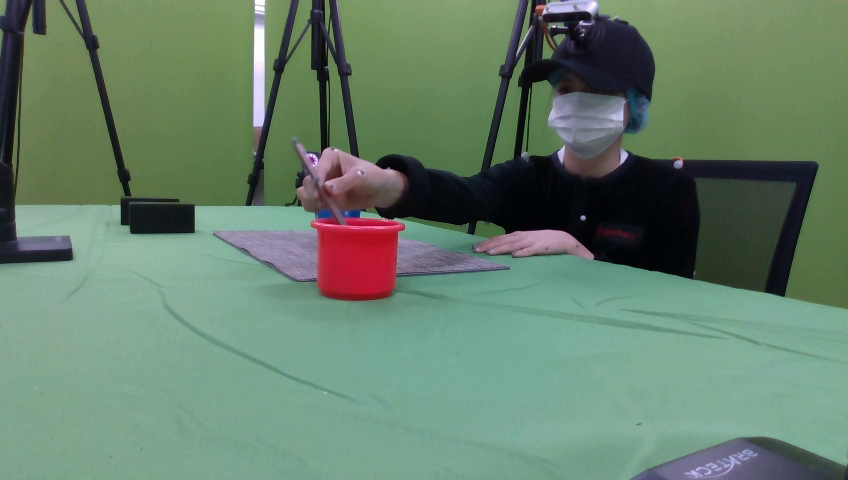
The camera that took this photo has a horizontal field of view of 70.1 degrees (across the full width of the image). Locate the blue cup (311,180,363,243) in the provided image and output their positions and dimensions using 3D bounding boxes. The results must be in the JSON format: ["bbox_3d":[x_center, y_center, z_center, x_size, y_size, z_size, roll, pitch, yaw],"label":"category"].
[{"bbox_3d":[-0.144,-0.047,0.996,0.093,0.100,0.092,2,6,0],"label":"blue cup"}]

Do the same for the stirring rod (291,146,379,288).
[{"bbox_3d":[-0.095,-0.026,0.641,0.006,0.176,0.014,-32,-5,18],"label":"stirring rod"}]
